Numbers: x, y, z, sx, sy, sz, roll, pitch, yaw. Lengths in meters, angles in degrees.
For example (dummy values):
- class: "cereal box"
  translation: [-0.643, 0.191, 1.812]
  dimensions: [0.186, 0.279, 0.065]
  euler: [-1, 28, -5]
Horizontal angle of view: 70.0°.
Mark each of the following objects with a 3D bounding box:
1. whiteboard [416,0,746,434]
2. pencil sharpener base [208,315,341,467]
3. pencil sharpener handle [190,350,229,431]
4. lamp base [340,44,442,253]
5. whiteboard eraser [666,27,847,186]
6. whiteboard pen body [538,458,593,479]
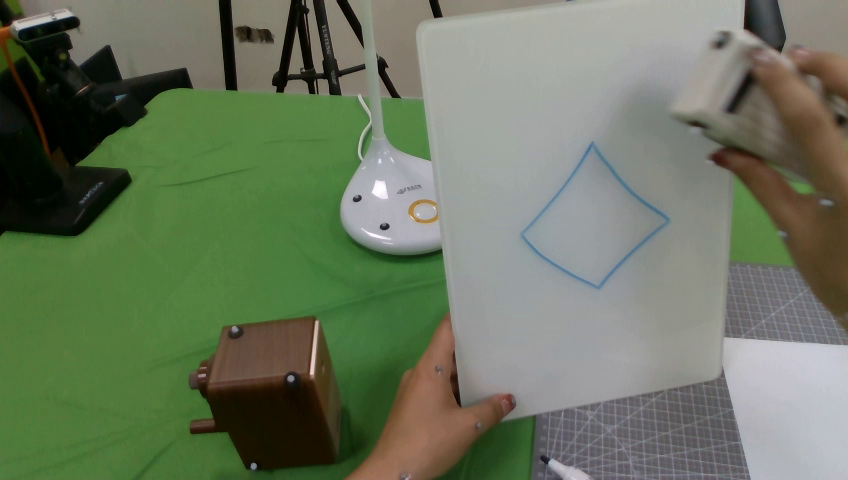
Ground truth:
- class: "whiteboard"
  translation: [0.112, -0.030, 0.493]
  dimensions: [0.217, 0.307, 0.142]
  euler: [-9, 21, -4]
- class: "pencil sharpener base"
  translation: [-0.108, 0.114, 0.450]
  dimensions: [0.077, 0.108, 0.060]
  euler: [-6, 41, -1]
- class: "pencil sharpener handle"
  translation: [-0.159, 0.112, 0.438]
  dimensions: [0.030, 0.068, 0.035]
  euler: [-6, 28, 0]
- class: "lamp base"
  translation: [-0.027, -0.104, 0.644]
  dimensions: [0.161, 0.182, 0.177]
  euler: [-28, 43, -25]
- class: "whiteboard eraser"
  translation: [0.201, -0.077, 0.361]
  dimensions: [0.113, 0.056, 0.041]
  euler: [20, 16, -19]
- class: "whiteboard pen body"
  translation: [0.138, 0.185, 0.409]
  dimensions: [0.139, 0.017, 0.017]
  euler: [24, 48, 33]
